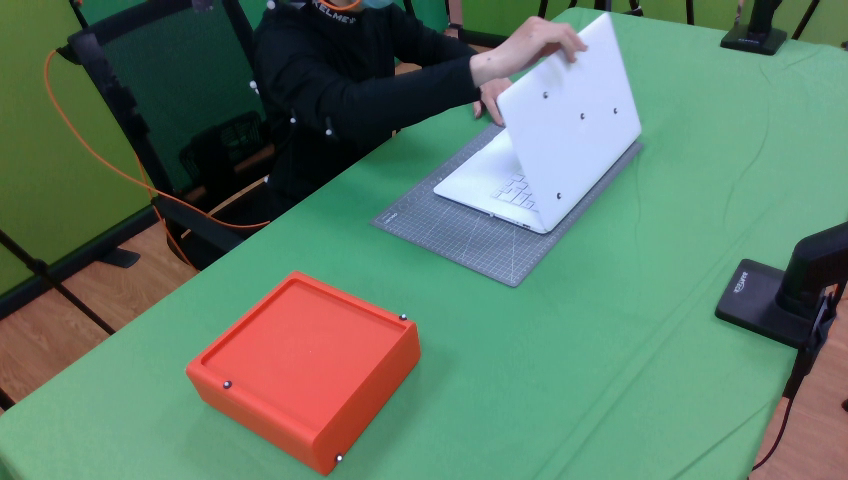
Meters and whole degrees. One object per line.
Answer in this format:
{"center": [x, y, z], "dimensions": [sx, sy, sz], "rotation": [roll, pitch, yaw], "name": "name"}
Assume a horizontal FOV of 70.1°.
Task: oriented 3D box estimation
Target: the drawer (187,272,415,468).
{"center": [-0.150, 0.154, 0.768], "dimensions": [0.210, 0.073, 0.195], "rotation": [20, 47, 28], "name": "drawer"}

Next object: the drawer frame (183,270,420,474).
{"center": [-0.148, 0.153, 0.767], "dimensions": [0.212, 0.083, 0.202], "rotation": [20, 46, 27], "name": "drawer frame"}

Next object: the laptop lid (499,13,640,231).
{"center": [0.257, -0.204, 0.997], "dimensions": [0.013, 0.243, 0.358], "rotation": [3, 34, 46], "name": "laptop lid"}

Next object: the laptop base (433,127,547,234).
{"center": [0.210, -0.142, 1.110], "dimensions": [0.233, 0.023, 0.355], "rotation": [21, 48, 33], "name": "laptop base"}

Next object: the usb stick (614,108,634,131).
{"center": [0.386, -0.233, 1.174], "dimensions": [0.021, 0.027, 0.059], "rotation": [20, 46, 30], "name": "usb stick"}
